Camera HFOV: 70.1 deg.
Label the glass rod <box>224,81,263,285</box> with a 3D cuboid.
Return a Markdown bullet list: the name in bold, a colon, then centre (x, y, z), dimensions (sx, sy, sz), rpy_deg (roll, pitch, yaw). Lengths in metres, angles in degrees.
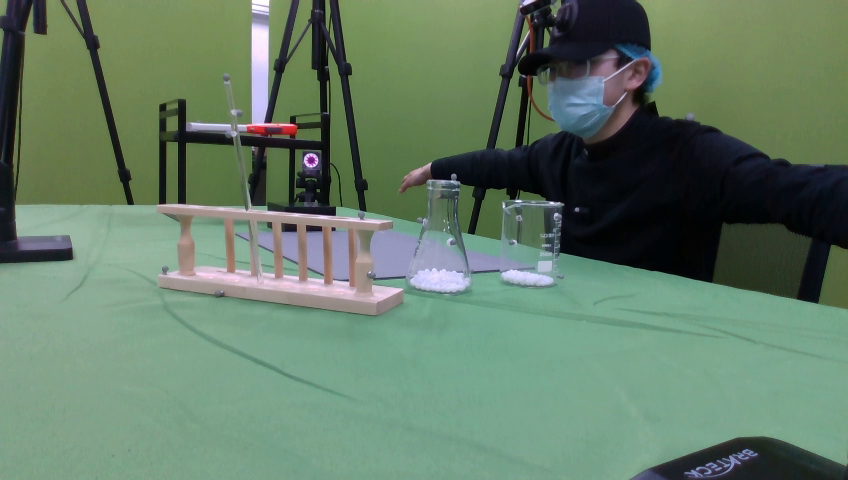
- **glass rod**: centre (-0.173, -0.052, 0.583), dimensions (0.008, 0.199, 0.008), rpy_deg (-7, 8, 1)

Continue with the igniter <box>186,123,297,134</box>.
- **igniter**: centre (-0.392, -0.248, 1.341), dimensions (0.057, 0.025, 0.278), rpy_deg (9, 14, 38)

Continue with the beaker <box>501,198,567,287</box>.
- **beaker**: centre (0.127, 0.002, 0.718), dimensions (0.084, 0.100, 0.073), rpy_deg (-4, 9, -35)

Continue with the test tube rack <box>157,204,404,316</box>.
- **test tube rack**: centre (-0.143, 0.013, 0.599), dimensions (0.242, 0.085, 0.067), rpy_deg (5, 8, 19)

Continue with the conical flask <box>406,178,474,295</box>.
- **conical flask**: centre (0.019, -0.006, 0.655), dimensions (0.075, 0.122, 0.075), rpy_deg (2, 7, 0)
